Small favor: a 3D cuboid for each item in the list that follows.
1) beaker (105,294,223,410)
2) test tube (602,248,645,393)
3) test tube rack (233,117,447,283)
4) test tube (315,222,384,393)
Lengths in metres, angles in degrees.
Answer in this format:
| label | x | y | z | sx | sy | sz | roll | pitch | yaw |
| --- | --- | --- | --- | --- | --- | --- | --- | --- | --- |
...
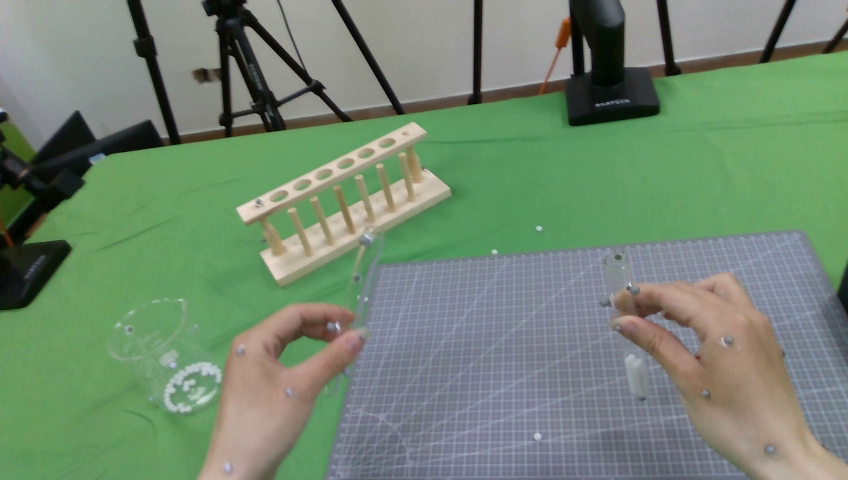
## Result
| label | x | y | z | sx | sy | sz | roll | pitch | yaw |
| --- | --- | --- | --- | --- | --- | --- | --- | --- | --- |
| beaker | -0.248 | 0.111 | 0.596 | 0.073 | 0.101 | 0.083 | 16 | 50 | 31 |
| test tube | 0.144 | 0.063 | 0.431 | 0.017 | 0.152 | 0.017 | -14 | 40 | 12 |
| test tube rack | -0.097 | -0.052 | 0.740 | 0.242 | 0.086 | 0.066 | -29 | 43 | -15 |
| test tube | -0.057 | 0.055 | 0.452 | 0.017 | 0.151 | 0.017 | 17 | 24 | -7 |
